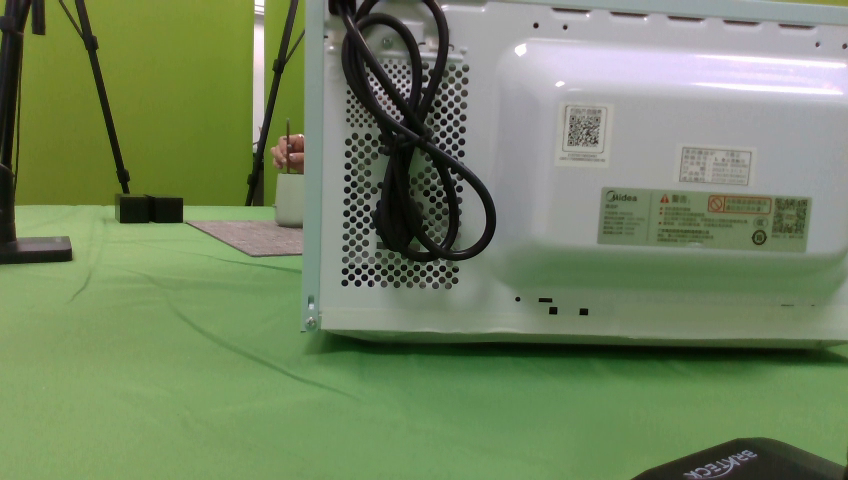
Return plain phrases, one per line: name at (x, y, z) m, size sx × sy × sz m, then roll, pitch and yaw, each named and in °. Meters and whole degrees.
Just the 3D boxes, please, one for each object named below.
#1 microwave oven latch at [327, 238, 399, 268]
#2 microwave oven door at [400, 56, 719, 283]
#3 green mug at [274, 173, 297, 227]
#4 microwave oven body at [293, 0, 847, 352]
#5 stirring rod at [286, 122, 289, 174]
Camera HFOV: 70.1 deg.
microwave oven latch at (-0.069, 0.015, 0.694) m, size 0.079 × 0.029 × 0.030 m, roll 3°, pitch 7°, yaw -3°
microwave oven door at (0.155, -0.078, 0.697) m, size 0.356 × 0.243 × 0.039 m, roll 2°, pitch 8°, yaw -5°
green mug at (-0.242, -0.081, 1.221) m, size 0.092 × 0.105 × 0.126 m, roll 8°, pitch 9°, yaw 40°
microwave oven body at (0.122, -0.055, 0.550) m, size 0.442 × 0.260 × 0.325 m, roll 3°, pitch 7°, yaw -5°
stirring rod at (-0.267, -0.142, 1.182) m, size 0.006 × 0.176 × 0.014 m, roll 1°, pitch 5°, yaw -7°
